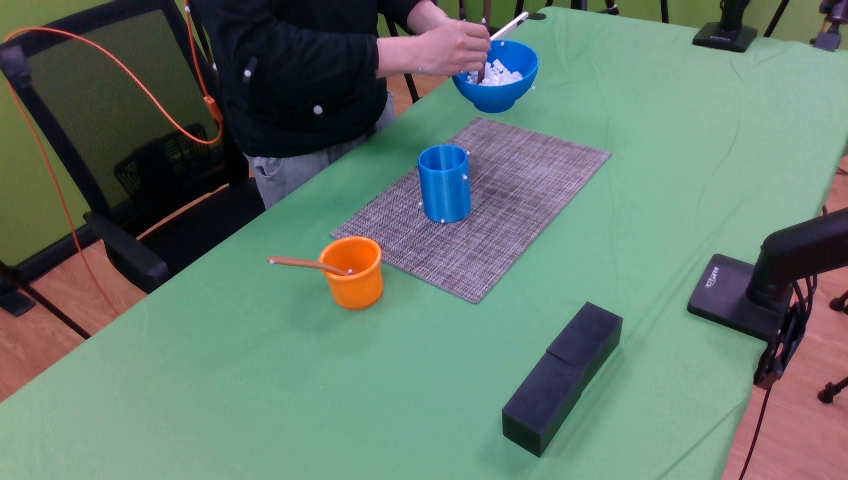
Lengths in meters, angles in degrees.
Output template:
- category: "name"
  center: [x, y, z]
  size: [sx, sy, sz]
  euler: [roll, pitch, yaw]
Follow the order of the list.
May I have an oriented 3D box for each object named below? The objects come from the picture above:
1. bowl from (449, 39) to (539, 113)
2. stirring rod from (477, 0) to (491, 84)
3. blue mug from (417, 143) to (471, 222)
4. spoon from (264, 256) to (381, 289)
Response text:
- category: "bowl"
  center: [0.120, -0.272, 1.038]
  size: [0.151, 0.077, 0.150]
  euler: [-3, 46, 4]
- category: "stirring rod"
  center: [0.099, -0.328, 0.995]
  size: [0.014, 0.177, 0.006]
  euler: [-36, 60, -25]
- category: "blue mug"
  center: [0.031, -0.104, 1.014]
  size: [0.082, 0.106, 0.115]
  euler: [-14, 41, -7]
- category: "spoon"
  center: [-0.136, 0.041, 0.842]
  size: [0.021, 0.195, 0.041]
  euler: [-56, 46, 13]
